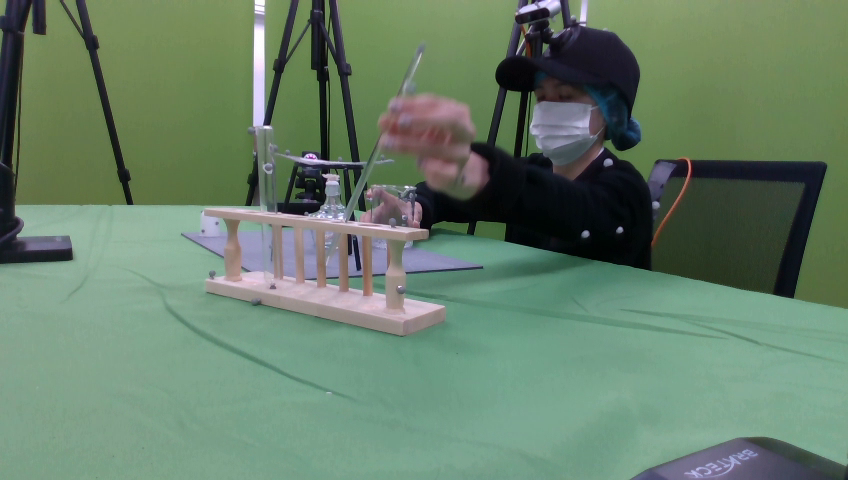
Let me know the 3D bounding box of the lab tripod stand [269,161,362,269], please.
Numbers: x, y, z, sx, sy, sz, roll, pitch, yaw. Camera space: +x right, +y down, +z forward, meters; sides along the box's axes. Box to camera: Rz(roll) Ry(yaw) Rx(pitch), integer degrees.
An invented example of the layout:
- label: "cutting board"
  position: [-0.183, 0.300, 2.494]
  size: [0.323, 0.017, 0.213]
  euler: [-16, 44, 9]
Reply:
- label: "lab tripod stand"
  position: [-0.125, -0.036, 0.794]
  size: [0.148, 0.131, 0.148]
  euler: [5, 7, 0]

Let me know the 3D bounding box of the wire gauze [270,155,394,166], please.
- label: "wire gauze"
  position: [-0.121, -0.102, 0.785]
  size: [0.122, 0.011, 0.124]
  euler: [-3, 10, -38]

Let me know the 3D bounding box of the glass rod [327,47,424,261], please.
- label: "glass rod"
  position: [-0.043, -0.070, 0.516]
  size: [0.008, 0.199, 0.008]
  euler: [24, 12, -5]

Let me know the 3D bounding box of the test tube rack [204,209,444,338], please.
- label: "test tube rack"
  position: [-0.100, 0.021, 0.565]
  size: [0.241, 0.085, 0.067]
  euler: [7, 9, 32]

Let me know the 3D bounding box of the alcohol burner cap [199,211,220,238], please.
- label: "alcohol burner cap"
  position: [-0.356, -0.027, 1.002]
  size: [0.034, 0.048, 0.034]
  euler: [2, 7, 0]

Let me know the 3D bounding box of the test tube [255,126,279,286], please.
- label: "test tube"
  position: [-0.147, -0.031, 0.566]
  size: [0.017, 0.150, 0.017]
  euler: [-1, 8, 0]

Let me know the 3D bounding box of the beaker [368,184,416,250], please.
- label: "beaker"
  position: [-0.051, -0.036, 0.957]
  size: [0.074, 0.100, 0.083]
  euler: [-1, 9, -24]

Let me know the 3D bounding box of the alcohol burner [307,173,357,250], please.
- label: "alcohol burner"
  position: [-0.144, -0.045, 0.940]
  size: [0.078, 0.119, 0.078]
  euler: [1, 8, 0]
